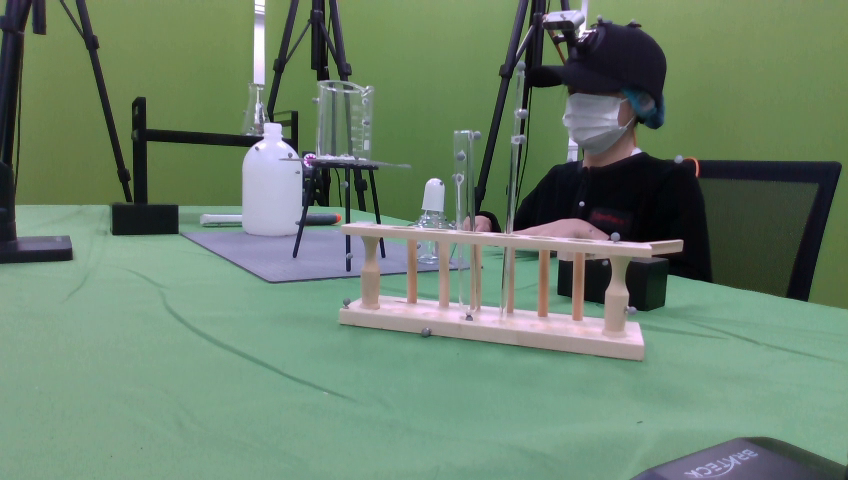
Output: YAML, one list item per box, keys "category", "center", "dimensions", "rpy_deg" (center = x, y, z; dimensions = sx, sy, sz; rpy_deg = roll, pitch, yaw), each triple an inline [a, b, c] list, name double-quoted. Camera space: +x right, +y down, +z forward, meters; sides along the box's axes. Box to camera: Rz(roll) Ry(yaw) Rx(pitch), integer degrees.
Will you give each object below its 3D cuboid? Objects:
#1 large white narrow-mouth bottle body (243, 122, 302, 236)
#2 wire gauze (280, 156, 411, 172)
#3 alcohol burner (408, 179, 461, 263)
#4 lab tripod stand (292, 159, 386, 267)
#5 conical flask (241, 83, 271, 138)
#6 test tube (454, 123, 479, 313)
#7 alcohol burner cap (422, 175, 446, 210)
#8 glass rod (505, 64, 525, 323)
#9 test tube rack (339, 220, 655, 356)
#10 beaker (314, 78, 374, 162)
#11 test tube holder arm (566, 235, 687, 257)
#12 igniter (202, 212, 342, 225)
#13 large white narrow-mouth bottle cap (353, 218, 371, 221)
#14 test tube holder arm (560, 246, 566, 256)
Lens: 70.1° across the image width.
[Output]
- category: "large white narrow-mouth bottle body"
  center: [-0.264, -0.109, 1.061]
  dimensions: [0.102, 0.194, 0.102]
  rpy_deg: [2, 8, 0]
- category: "wire gauze"
  center: [-0.103, -0.103, 0.785]
  dimensions: [0.121, 0.011, 0.126]
  rpy_deg: [11, 8, 42]
- category: "alcohol burner"
  center: [0.013, -0.029, 0.834]
  dimensions: [0.078, 0.119, 0.078]
  rpy_deg: [0, 6, 0]
- category: "lab tripod stand"
  center: [-0.105, -0.039, 0.797]
  dimensions: [0.148, 0.131, 0.148]
  rpy_deg: [2, 5, 0]
- category: "conical flask"
  center: [-0.383, -0.297, 1.393]
  dimensions: [0.075, 0.122, 0.075]
  rpy_deg: [2, 7, 0]
- category: "test tube"
  center: [0.034, -0.016, 0.477]
  dimensions: [0.017, 0.150, 0.017]
  rpy_deg: [-2, 9, 1]
- category: "alcohol burner cap"
  center: [0.016, -0.065, 0.830]
  dimensions: [0.034, 0.048, 0.034]
  rpy_deg: [7, 4, 0]
- category: "glass rod"
  center: [0.069, -0.030, 0.458]
  dimensions: [0.008, 0.199, 0.008]
  rpy_deg: [0, 15, 0]
- category: "test tube rack"
  center: [0.056, 0.032, 0.495]
  dimensions: [0.242, 0.085, 0.067]
  rpy_deg: [4, 7, 15]
- category: "beaker"
  center: [-0.101, -0.150, 0.773]
  dimensions: [0.074, 0.100, 0.083]
  rpy_deg: [-2, 8, -40]
- category: "test tube holder arm"
  center: [0.215, 0.006, 0.629]
  dimensions: [0.179, 0.015, 0.013]
  rpy_deg: [-3, 9, -30]
- category: "igniter"
  center: [-0.298, -0.044, 1.216]
  dimensions: [0.278, 0.025, 0.057]
  rpy_deg: [-3, -2, -32]
- category: "large white narrow-mouth bottle cap"
  center: [-0.120, -0.029, 1.184]
  dimensions: [0.038, 0.024, 0.037]
  rpy_deg: [2, 8, 0]
- category: "test tube holder arm"
  center: [0.173, 0.007, 0.611]
  dimensions: [0.088, 0.015, 0.010]
  rpy_deg: [-3, 9, -30]
